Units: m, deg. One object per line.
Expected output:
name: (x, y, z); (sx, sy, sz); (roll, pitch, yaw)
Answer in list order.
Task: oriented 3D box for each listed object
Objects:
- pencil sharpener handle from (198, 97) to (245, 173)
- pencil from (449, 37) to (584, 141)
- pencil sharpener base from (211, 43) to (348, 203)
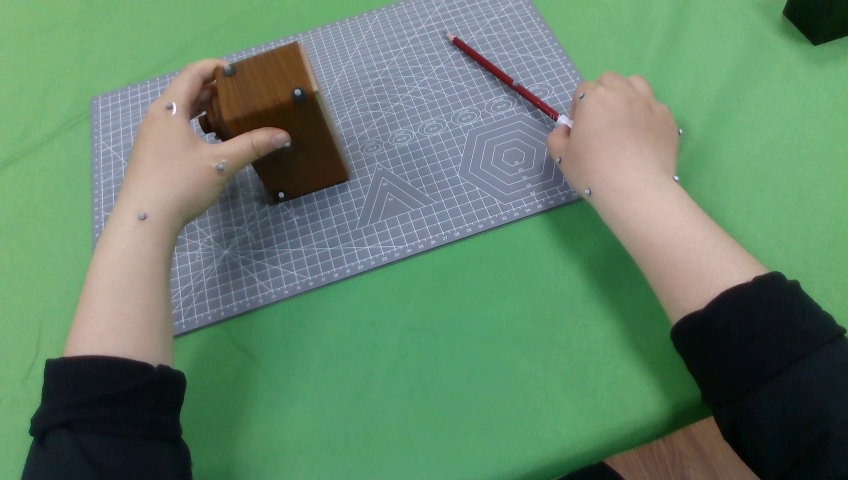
pencil sharpener handle: (-0.163, -0.077, 0.471); (0.030, 0.068, 0.035); (-20, 58, -3)
pencil: (0.076, -0.143, 0.548); (0.012, 0.012, 0.192); (-33, 54, -12)
pencil sharpener base: (-0.113, -0.088, 0.484); (0.077, 0.108, 0.060); (-20, 58, -3)
